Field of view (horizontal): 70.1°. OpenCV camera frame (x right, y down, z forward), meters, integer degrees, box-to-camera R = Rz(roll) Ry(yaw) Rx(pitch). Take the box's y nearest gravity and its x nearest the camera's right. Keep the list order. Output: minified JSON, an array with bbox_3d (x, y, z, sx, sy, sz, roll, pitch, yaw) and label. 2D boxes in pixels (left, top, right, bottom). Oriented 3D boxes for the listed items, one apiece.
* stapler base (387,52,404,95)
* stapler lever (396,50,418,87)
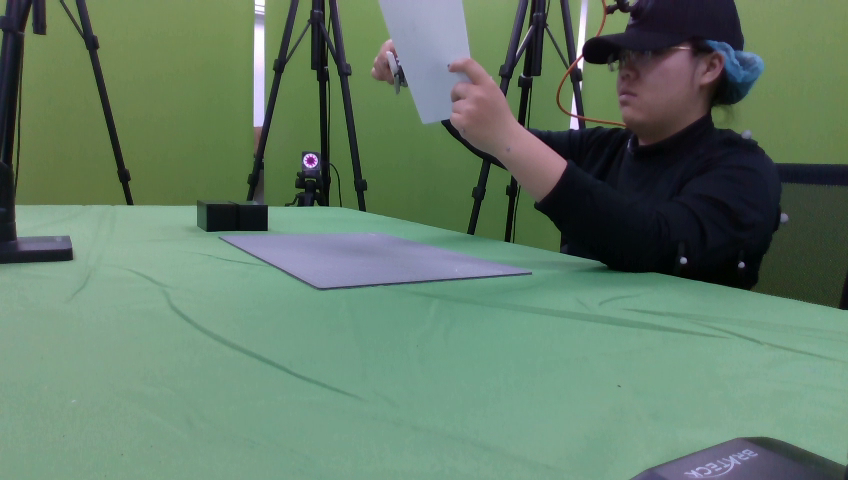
[{"bbox_3d":[-0.049,-0.303,1.095,0.024,0.041,0.130,-17,-3,-3],"label":"stapler base"},{"bbox_3d":[-0.029,-0.310,1.097,0.040,0.027,0.118,-17,-3,2],"label":"stapler lever"}]
